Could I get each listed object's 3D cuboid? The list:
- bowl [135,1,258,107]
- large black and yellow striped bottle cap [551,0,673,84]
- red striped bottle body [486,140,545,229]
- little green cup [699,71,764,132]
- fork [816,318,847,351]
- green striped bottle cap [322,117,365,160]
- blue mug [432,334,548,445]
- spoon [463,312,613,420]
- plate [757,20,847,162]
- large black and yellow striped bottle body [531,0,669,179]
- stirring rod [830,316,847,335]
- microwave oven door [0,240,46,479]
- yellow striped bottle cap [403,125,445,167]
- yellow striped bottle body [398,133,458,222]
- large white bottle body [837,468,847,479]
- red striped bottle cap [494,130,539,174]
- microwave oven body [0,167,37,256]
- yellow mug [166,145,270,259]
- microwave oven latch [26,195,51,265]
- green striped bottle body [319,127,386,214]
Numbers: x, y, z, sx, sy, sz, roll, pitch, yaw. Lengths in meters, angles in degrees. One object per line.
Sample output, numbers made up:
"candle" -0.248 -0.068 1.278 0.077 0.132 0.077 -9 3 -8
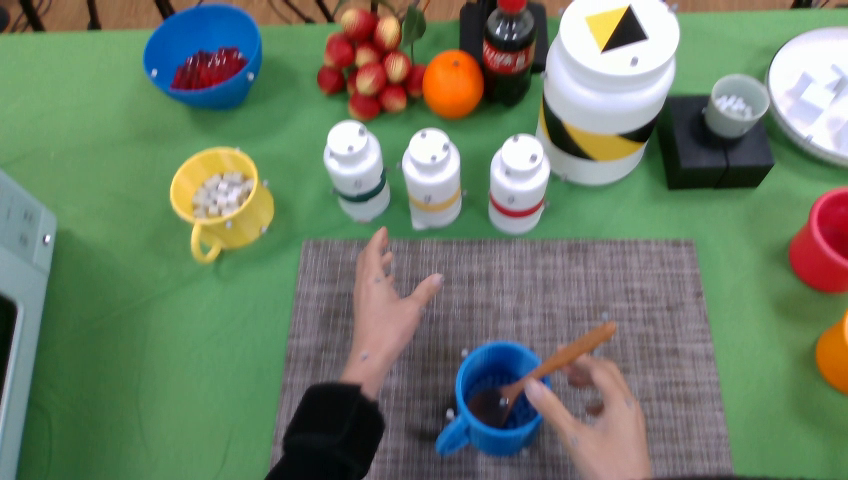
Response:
"bowl" -0.284 -0.229 0.795 0.151 0.077 0.150 -1 64 3
"large black and yellow striped bottle cap" 0.184 -0.204 0.596 0.115 0.019 0.114 -2 63 4
"red striped bottle body" 0.100 -0.066 0.665 0.063 0.121 0.062 -3 62 6
"little green cup" 0.342 -0.153 0.679 0.061 0.039 0.061 0 62 1
"fork" 0.452 0.112 0.536 0.028 0.019 0.205 -36 23 -13
"green striped bottle cap" -0.085 -0.107 0.640 0.044 0.020 0.044 -1 62 3
"blue mug" 0.056 0.152 0.565 0.116 0.107 0.081 -34 66 -12
"spoon" 0.093 0.115 0.532 0.022 0.194 0.041 3 55 -35
"plate" 0.511 -0.178 0.737 0.209 0.038 0.207 -1 64 3
"large black and yellow striped bottle body" 0.191 -0.167 0.672 0.131 0.185 0.129 -2 64 4
"stirring rod" 0.422 0.111 0.547 0.014 0.006 0.175 3 21 2
"microwave oven door" -0.435 0.139 0.513 0.039 0.246 0.352 -9 63 0
"yellow striped bottle cap" 0.000 -0.098 0.629 0.044 0.019 0.044 1 61 -1
"yellow striped bottle body" 0.005 -0.075 0.675 0.063 0.121 0.062 -2 63 4
"large white bottle body" 0.423 0.222 0.464 0.130 0.186 0.129 -2 63 4
"red striped bottle cap" 0.095 -0.090 0.618 0.044 0.018 0.044 0 62 0
"microwave oven body" -0.585 0.125 0.536 0.326 0.262 0.437 -9 64 -1
"yellow mug" -0.243 -0.039 0.706 0.100 0.064 0.130 9 65 8
"microwave oven latch" -0.455 -0.010 0.701 0.030 0.030 0.078 -7 64 0
"green striped bottle body" -0.081 -0.084 0.686 0.063 0.120 0.062 -1 64 3
